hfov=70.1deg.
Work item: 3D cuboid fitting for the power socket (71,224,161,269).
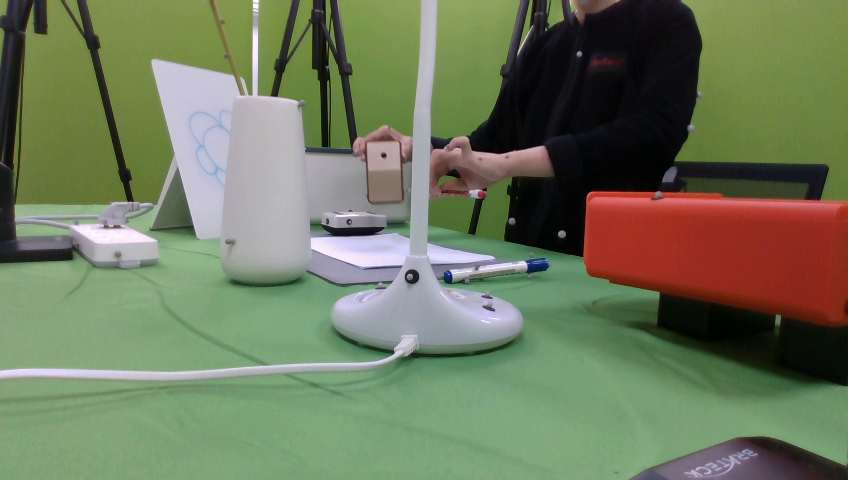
[{"bbox_3d":[-0.408,0.004,0.793,0.072,0.032,0.225,-2,8,-38],"label":"power socket"}]

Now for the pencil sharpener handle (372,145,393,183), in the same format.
[{"bbox_3d":[-0.072,-0.135,1.090,0.036,0.067,0.030,-11,4,-4],"label":"pencil sharpener handle"}]

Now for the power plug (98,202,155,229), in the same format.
[{"bbox_3d":[-0.416,-0.027,0.848,0.073,0.052,0.035,0,8,-28],"label":"power plug"}]

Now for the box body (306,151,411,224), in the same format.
[{"bbox_3d":[-0.230,-0.126,1.371,0.366,0.160,0.253,-2,8,-33],"label":"box body"}]

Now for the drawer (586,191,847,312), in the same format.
[{"bbox_3d":[0.281,0.001,0.513,0.195,0.073,0.210,-1,8,-29],"label":"drawer"}]

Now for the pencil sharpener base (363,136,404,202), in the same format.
[{"bbox_3d":[-0.070,-0.120,1.040,0.061,0.107,0.076,-4,3,-4],"label":"pencil sharpener base"}]

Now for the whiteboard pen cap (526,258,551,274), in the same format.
[{"bbox_3d":[0.141,0.033,0.758,0.033,0.018,0.018,-7,11,-26],"label":"whiteboard pen cap"}]

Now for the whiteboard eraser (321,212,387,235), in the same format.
[{"bbox_3d":[-0.128,-0.031,1.108,0.113,0.042,0.055,-3,8,-38],"label":"whiteboard eraser"}]

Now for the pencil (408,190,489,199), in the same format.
[{"bbox_3d":[0.030,-0.070,0.890,0.012,0.012,0.193,-3,7,-35],"label":"pencil"}]

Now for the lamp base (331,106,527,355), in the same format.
[{"bbox_3d":[0.006,-0.012,0.478,0.161,0.180,0.179,2,10,2],"label":"lamp base"}]

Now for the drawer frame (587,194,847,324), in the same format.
[{"bbox_3d":[0.285,0.004,0.508,0.203,0.082,0.212,-1,6,-29],"label":"drawer frame"}]

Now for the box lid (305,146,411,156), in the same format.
[{"bbox_3d":[-0.229,-0.200,1.361,0.373,0.015,0.262,-3,9,-32],"label":"box lid"}]

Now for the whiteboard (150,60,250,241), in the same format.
[{"bbox_3d":[-0.408,-0.139,1.093,0.143,0.305,0.218,-15,-1,26],"label":"whiteboard"}]

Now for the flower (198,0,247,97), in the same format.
[{"bbox_3d":[-0.187,-0.133,0.648,0.038,0.362,0.044,-1,22,43],"label":"flower"}]

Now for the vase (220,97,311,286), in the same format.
[{"bbox_3d":[-0.172,-0.052,0.662,0.098,0.200,0.098,3,8,0],"label":"vase"}]

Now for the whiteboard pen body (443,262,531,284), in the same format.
[{"bbox_3d":[0.088,0.038,0.734,0.141,0.017,0.017,-5,10,-27],"label":"whiteboard pen body"}]
